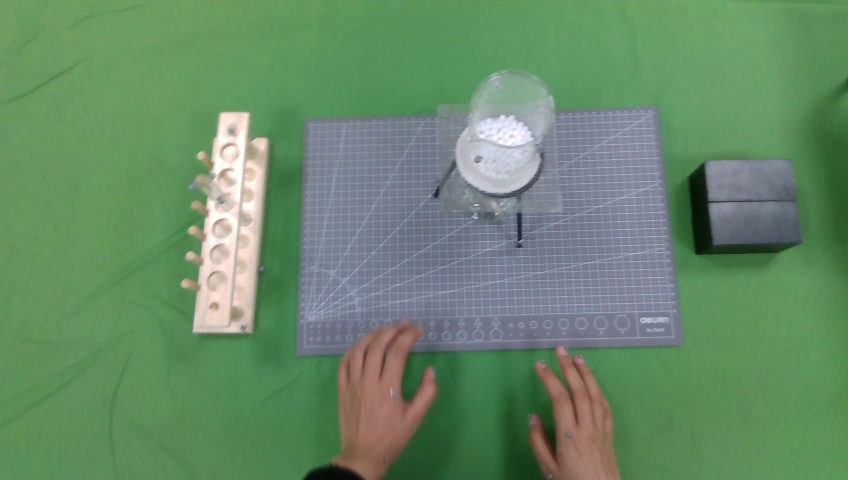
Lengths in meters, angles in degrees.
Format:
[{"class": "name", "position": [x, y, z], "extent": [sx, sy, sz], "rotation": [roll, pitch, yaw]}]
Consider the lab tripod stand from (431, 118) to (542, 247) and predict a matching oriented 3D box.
[{"class": "lab tripod stand", "position": [0.079, -0.073, 0.684], "extent": [0.148, 0.132, 0.147], "rotation": [-1, 75, 2]}]

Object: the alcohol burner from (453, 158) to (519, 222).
[{"class": "alcohol burner", "position": [0.073, -0.063, 0.692], "extent": [0.078, 0.119, 0.077], "rotation": [0, 76, 0]}]

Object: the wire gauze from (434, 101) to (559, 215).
[{"class": "wire gauze", "position": [0.073, -0.085, 0.619], "extent": [0.125, 0.011, 0.121], "rotation": [0, 77, -1]}]

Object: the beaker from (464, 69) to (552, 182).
[{"class": "beaker", "position": [0.072, -0.101, 0.574], "extent": [0.084, 0.101, 0.073], "rotation": [-35, 78, -7]}]

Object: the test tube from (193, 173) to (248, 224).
[{"class": "test tube", "position": [-0.218, -0.042, 0.660], "extent": [0.017, 0.151, 0.017], "rotation": [0, 77, -1]}]

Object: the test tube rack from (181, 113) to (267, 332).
[{"class": "test tube rack", "position": [-0.236, -0.018, 0.706], "extent": [0.067, 0.085, 0.241], "rotation": [1, 77, 2]}]
